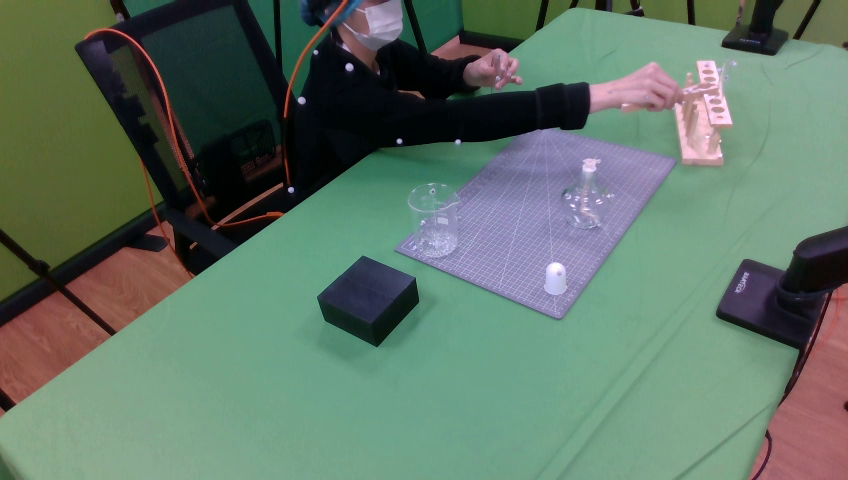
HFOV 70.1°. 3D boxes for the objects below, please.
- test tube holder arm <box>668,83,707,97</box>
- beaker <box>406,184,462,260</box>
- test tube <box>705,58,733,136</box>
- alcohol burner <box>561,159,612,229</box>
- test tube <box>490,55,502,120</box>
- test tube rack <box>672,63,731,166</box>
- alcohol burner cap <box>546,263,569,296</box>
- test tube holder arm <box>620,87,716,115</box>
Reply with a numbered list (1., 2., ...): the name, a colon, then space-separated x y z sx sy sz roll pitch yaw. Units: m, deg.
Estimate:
1. test tube holder arm: 0.449 -0.250 1.031 0.088 0.015 0.010 -23 40 -22
2. beaker: 0.020 -0.026 0.939 0.084 0.101 0.074 1 41 10
3. test tube: 0.517 -0.247 1.062 0.017 0.151 0.017 -4 43 4
4. alcohol burner: 0.257 -0.077 0.951 0.078 0.119 0.077 -3 40 3
5. test tube: 0.141 -0.297 1.193 0.017 0.151 0.017 -1 51 2
6. test tube rack: 0.513 -0.240 1.132 0.066 0.085 0.242 4 41 14
7. alcohol burner cap: 0.191 0.053 0.862 0.034 0.048 0.033 -5 40 4
8. test tube holder arm: 0.410 -0.234 1.014 0.179 0.015 0.013 -15 37 -13
